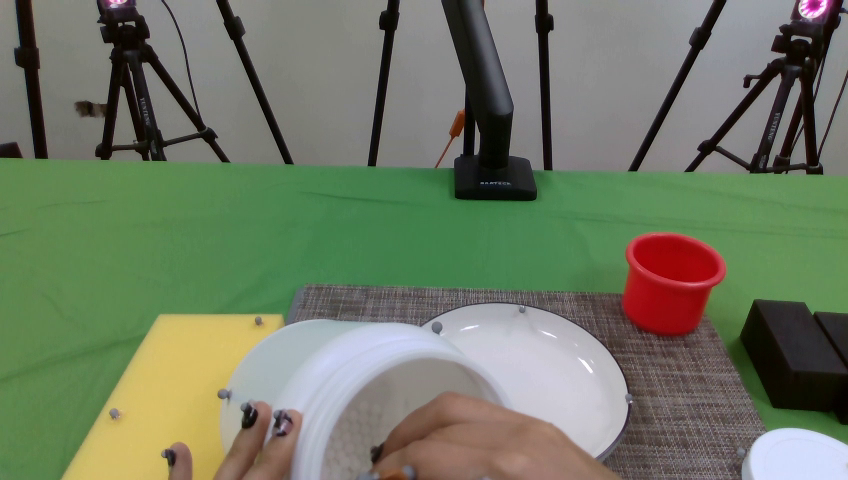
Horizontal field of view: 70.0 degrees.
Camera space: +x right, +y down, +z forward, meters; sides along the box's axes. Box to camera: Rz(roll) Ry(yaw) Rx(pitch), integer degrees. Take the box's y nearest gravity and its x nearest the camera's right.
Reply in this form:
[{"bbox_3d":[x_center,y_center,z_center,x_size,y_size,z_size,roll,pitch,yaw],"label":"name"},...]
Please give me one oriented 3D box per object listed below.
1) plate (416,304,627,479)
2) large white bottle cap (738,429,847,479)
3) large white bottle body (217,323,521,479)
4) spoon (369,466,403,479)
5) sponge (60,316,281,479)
[{"bbox_3d":[0.072,0.137,0.544,0.209,0.038,0.207,1,33,0],"label":"plate"},{"bbox_3d":[0.310,0.199,0.476,0.115,0.018,0.114,3,34,-1],"label":"large white bottle cap"},{"bbox_3d":[-0.040,0.114,0.351,0.131,0.130,0.184,-19,3,-28],"label":"large white bottle body"},{"bbox_3d":[-0.024,0.128,0.294,0.042,0.194,0.021,6,65,-7],"label":"spoon"},{"bbox_3d":[-0.194,0.151,0.499,0.118,0.061,0.205,-1,33,1],"label":"sponge"}]
